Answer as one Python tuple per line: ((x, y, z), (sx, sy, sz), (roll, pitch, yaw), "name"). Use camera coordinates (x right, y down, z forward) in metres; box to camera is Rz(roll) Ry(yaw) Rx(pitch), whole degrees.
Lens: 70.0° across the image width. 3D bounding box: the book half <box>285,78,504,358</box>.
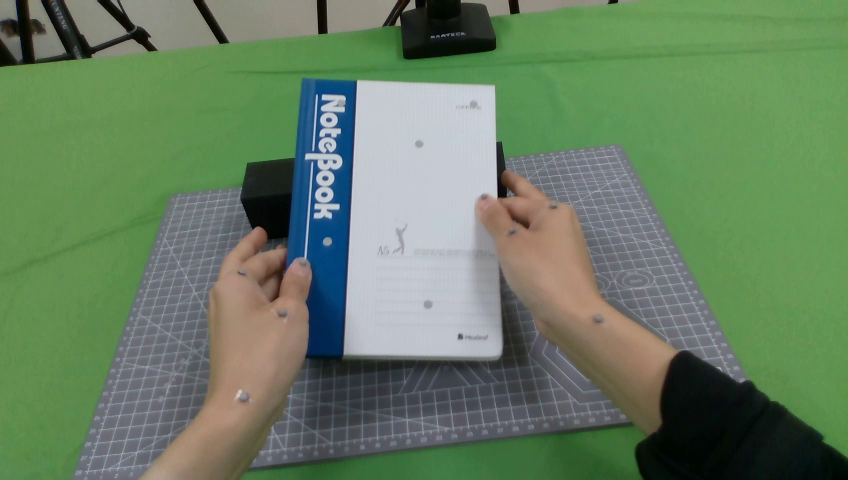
((-0.018, -0.022, 0.426), (0.143, 0.007, 0.208), (1, 71, -2), "book half")
